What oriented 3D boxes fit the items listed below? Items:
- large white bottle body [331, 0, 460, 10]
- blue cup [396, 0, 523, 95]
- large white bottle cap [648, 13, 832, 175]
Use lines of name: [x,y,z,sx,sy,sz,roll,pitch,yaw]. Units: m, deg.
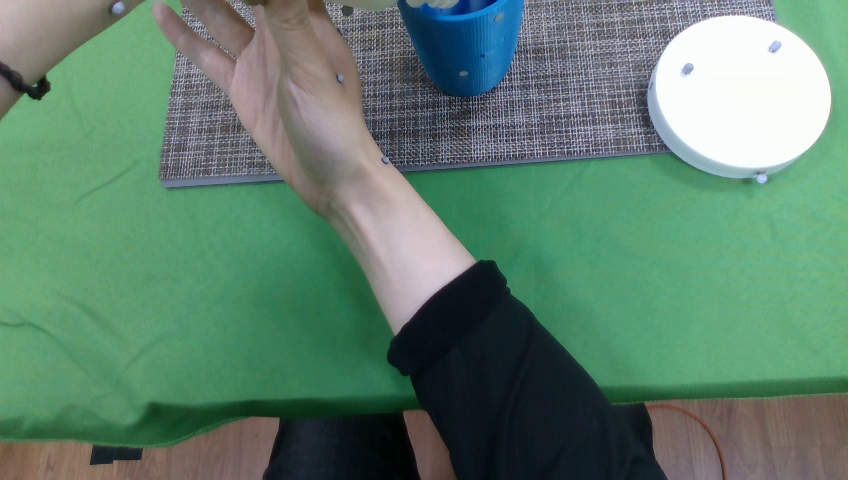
large white bottle body: [-0.061,-0.187,0.285,0.185,0.131,0.130,8,71,-16]
blue cup: [0.026,-0.148,0.399,0.092,0.101,0.092,-2,70,7]
large white bottle cap: [0.211,-0.100,0.407,0.115,0.018,0.114,-1,74,3]
